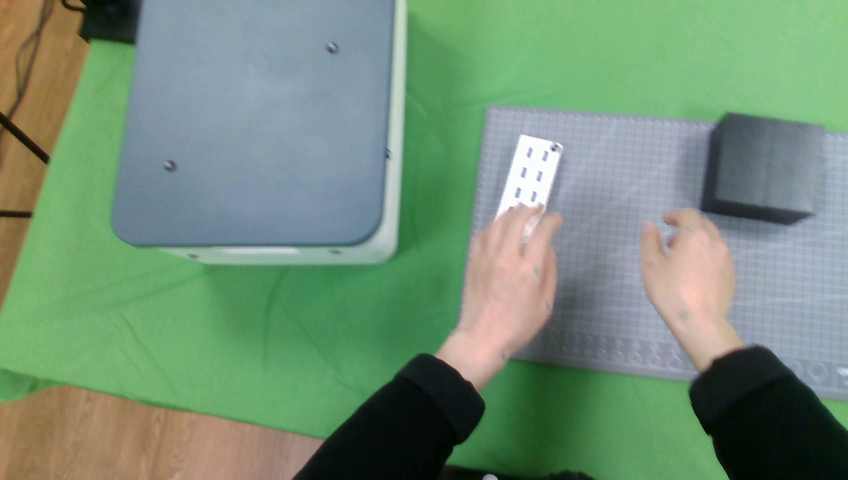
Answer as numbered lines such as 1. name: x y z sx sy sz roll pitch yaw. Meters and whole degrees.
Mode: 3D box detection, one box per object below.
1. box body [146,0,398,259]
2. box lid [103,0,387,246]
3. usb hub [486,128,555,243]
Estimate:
1. box body: -0.162 -0.162 0.667 0.254 0.161 0.362 0 79 5
2. box lid: -0.169 -0.176 0.594 0.263 0.015 0.369 0 78 6
3. usb hub: 0.110 -0.062 0.690 0.049 0.025 0.125 16 81 7
